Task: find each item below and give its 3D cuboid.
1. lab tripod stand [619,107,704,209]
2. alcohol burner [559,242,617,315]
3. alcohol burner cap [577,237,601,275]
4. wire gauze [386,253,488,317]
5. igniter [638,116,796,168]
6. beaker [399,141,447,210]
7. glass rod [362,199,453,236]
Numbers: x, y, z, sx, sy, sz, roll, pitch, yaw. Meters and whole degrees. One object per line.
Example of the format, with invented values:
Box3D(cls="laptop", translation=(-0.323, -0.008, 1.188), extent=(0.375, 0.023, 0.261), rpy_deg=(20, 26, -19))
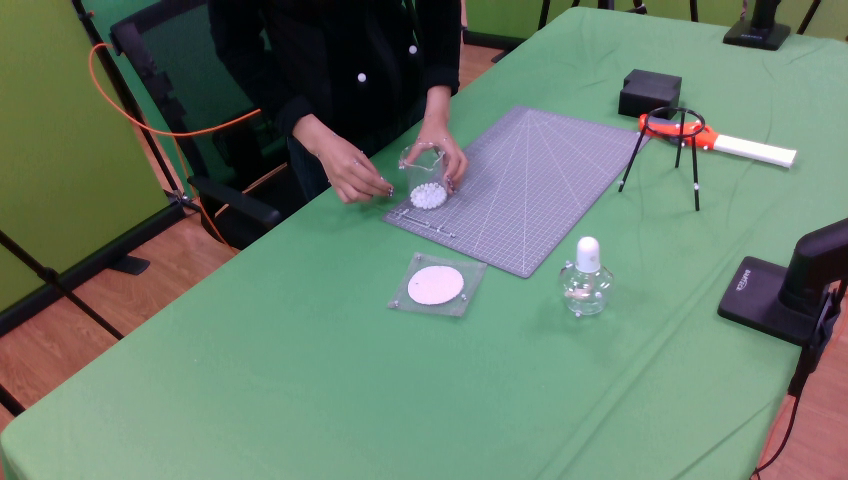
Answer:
Box3D(cls="lab tripod stand", translation=(0.400, -0.136, 0.981), extent=(0.148, 0.132, 0.147), rpy_deg=(-4, 41, 4))
Box3D(cls="alcohol burner", translation=(0.222, 0.045, 0.816), extent=(0.078, 0.119, 0.077), rpy_deg=(-4, 42, 4))
Box3D(cls="alcohol burner cap", translation=(0.216, 0.018, 0.793), extent=(0.034, 0.048, 0.033), rpy_deg=(-7, 35, 6))
Box3D(cls="wire gauze", translation=(0.021, 0.066, 0.910), extent=(0.121, 0.011, 0.125), rpy_deg=(9, 41, 20))
Box3D(cls="igniter", translation=(0.517, -0.181, 1.093), extent=(0.274, 0.025, 0.057), rpy_deg=(23, 65, 32))
Box3D(cls="beaker", translation=(0.003, -0.108, 1.043), extent=(0.074, 0.101, 0.083), rpy_deg=(-19, 42, -10))
Box3D(cls="glass rod", translation=(-0.032, -0.041, 1.041), extent=(0.198, 0.008, 0.008), rpy_deg=(22, 50, 31))
